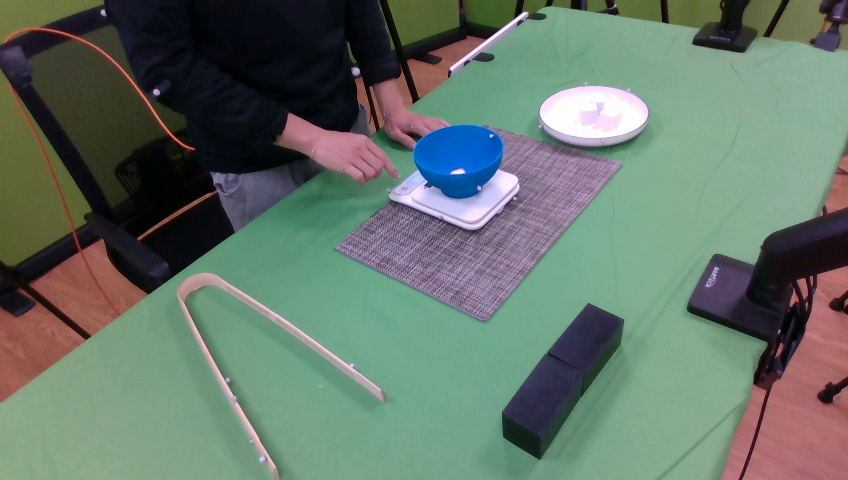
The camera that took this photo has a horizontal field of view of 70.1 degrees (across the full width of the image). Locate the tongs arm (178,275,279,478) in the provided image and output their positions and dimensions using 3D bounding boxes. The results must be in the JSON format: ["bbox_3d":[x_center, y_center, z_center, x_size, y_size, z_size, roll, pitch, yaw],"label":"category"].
[{"bbox_3d":[-0.260,0.161,0.807,0.051,0.026,0.381,-29,44,-24],"label":"tongs arm"}]

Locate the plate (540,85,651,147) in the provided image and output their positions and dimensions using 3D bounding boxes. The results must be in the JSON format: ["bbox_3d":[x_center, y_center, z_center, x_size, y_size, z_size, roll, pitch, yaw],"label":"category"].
[{"bbox_3d":[0.333,-0.239,1.186,0.207,0.039,0.206,-4,41,4],"label":"plate"}]

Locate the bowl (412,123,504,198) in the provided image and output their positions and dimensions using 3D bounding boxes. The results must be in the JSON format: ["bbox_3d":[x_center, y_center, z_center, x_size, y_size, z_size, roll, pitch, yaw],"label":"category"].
[{"bbox_3d":[0.060,-0.123,1.007,0.151,0.077,0.150,-5,41,5],"label":"bowl"}]

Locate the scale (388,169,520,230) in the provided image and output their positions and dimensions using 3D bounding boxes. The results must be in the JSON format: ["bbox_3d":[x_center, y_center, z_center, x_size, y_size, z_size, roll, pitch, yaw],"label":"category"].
[{"bbox_3d":[0.050,-0.090,1.052,0.199,0.032,0.149,24,49,31],"label":"scale"}]

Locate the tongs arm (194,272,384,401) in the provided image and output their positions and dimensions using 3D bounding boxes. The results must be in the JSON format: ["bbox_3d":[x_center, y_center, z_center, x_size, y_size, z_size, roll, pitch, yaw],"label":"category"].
[{"bbox_3d":[-0.199,0.125,0.846,0.384,0.028,0.028,25,53,32],"label":"tongs arm"}]
